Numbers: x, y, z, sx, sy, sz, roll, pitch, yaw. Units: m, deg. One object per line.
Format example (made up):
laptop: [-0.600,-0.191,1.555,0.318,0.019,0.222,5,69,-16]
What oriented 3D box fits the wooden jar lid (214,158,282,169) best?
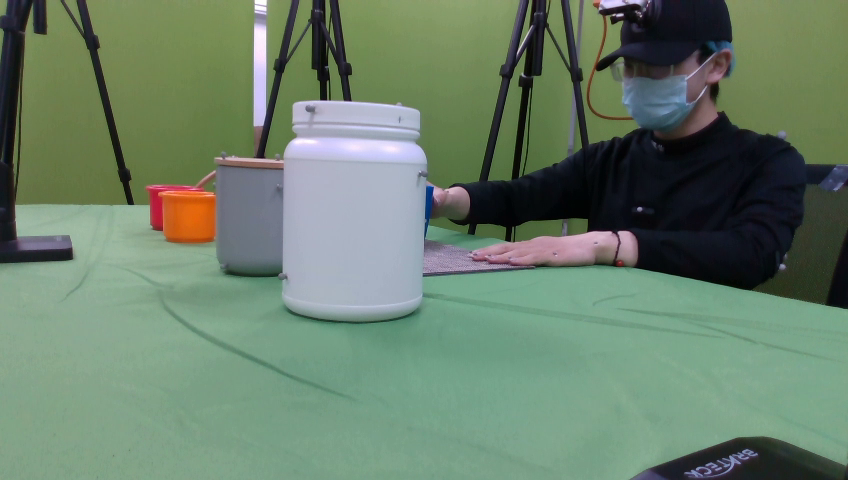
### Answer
wooden jar lid: [-0.193,-0.085,0.719,0.108,0.020,0.108,2,9,0]

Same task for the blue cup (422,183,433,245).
blue cup: [-0.029,-0.041,0.979,0.093,0.100,0.092,2,8,0]

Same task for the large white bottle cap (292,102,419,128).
large white bottle cap: [-0.061,-0.111,0.547,0.115,0.018,0.115,2,8,0]

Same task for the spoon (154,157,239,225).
spoon: [-0.411,-0.092,1.105,0.041,0.022,0.194,13,56,51]

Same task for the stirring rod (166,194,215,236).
stirring rod: [-0.341,-0.066,0.967,0.176,0.006,0.014,-42,23,-9]

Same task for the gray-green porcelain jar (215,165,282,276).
gray-green porcelain jar: [-0.195,-0.024,0.727,0.106,0.126,0.106,3,7,0]

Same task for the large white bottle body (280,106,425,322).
large white bottle body: [-0.065,-0.028,0.559,0.131,0.184,0.130,2,7,0]
